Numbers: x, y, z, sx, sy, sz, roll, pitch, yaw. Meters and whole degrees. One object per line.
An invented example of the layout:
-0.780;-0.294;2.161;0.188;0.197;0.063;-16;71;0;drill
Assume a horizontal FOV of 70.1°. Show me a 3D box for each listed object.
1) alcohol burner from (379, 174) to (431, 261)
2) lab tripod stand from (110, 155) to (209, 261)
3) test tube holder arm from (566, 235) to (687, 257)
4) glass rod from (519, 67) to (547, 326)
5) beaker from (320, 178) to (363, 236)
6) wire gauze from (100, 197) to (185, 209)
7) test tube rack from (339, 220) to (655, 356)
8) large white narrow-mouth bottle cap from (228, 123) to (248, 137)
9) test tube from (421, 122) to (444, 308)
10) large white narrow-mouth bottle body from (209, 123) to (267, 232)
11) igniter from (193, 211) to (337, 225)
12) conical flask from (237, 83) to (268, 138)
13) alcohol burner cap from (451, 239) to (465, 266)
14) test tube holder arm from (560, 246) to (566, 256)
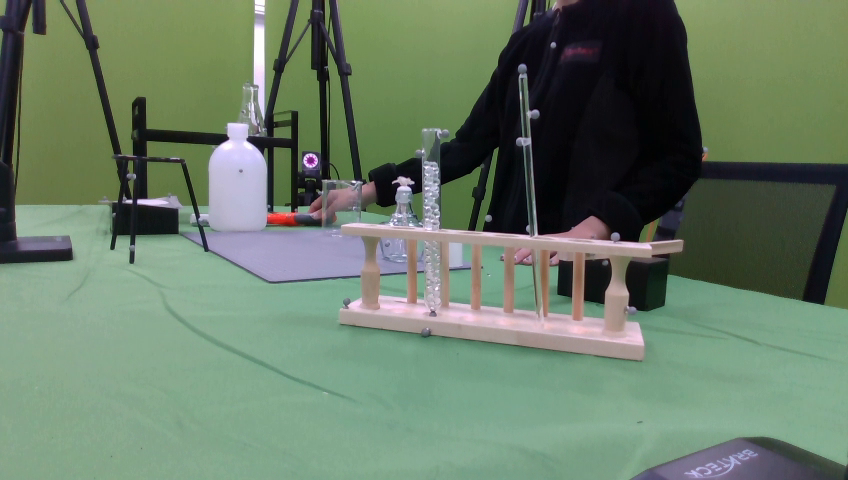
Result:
-0.027;-0.031;0.838;0.078;0.119;0.078;0;6;0;alcohol burner
-0.361;-0.046;0.806;0.148;0.131;0.148;2;5;0;lab tripod stand
0.215;0.006;0.630;0.179;0.015;0.013;-3;10;-30;test tube holder arm
0.084;-0.029;0.458;0.008;0.199;0.008;-6;11;2;glass rod
-0.145;-0.059;1.079;0.074;0.100;0.083;-4;10;-35;beaker
-0.469;-0.062;1.008;0.126;0.011;0.121;-2;8;-25;wire gauze
0.056;0.032;0.495;0.242;0.085;0.067;4;7;15;test tube rack
-0.338;-0.199;1.097;0.038;0.024;0.037;2;8;0;large white narrow-mouth bottle cap
0.007;-0.019;0.486;0.017;0.150;0.017;-1;8;0;test tube
-0.340;-0.115;1.109;0.102;0.194;0.102;2;8;0;large white narrow-mouth bottle body
-0.312;-0.044;1.205;0.278;0.025;0.057;-3;-3;-25;igniter
-0.402;-0.299;1.406;0.075;0.122;0.075;2;7;0;conical flask
0.041;0.010;0.815;0.034;0.048;0.034;4;7;0;alcohol burner cap
0.173;0.007;0.611;0.088;0.015;0.010;-3;10;-30;test tube holder arm
